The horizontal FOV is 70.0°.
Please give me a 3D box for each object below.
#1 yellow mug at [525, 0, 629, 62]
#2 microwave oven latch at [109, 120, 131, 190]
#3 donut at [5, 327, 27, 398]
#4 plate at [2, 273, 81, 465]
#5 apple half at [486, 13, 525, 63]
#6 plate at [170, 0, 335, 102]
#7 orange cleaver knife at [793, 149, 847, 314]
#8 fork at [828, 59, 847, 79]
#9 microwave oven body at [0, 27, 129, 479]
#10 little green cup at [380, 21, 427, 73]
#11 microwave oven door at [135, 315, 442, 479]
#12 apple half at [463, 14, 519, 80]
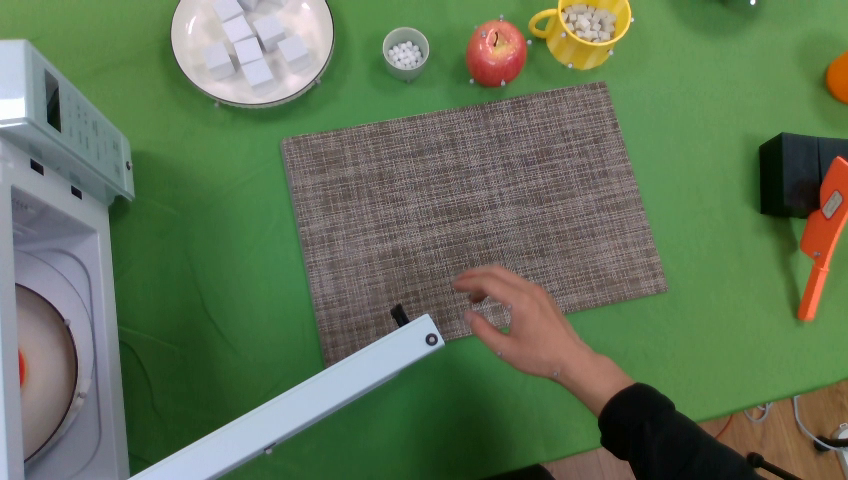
[{"bbox_3d":[0.203,-0.302,0.822,0.131,0.064,0.099,-1,78,-4],"label":"yellow mug"},{"bbox_3d":[-0.372,-0.102,0.728,0.030,0.029,0.079,-7,80,-7],"label":"microwave oven latch"},{"bbox_3d":[-0.460,0.131,0.617,0.099,0.048,0.098,1,80,-6],"label":"donut"},{"bbox_3d":[-0.462,0.137,0.628,0.209,0.038,0.208,1,79,-5],"label":"plate"},{"bbox_3d":[0.111,-0.270,0.804,0.033,0.081,0.081,-39,84,-7],"label":"apple half"},{"bbox_3d":[-0.220,-0.275,0.795,0.208,0.039,0.206,1,79,-4],"label":"plate"},{"bbox_3d":[0.508,-0.010,0.778,0.012,0.076,0.212,7,110,-1],"label":"orange cleaver knife"},{"bbox_3d":[0.662,-0.257,0.810,0.206,0.019,0.028,-13,73,37],"label":"fork"},{"bbox_3d":[-0.479,0.071,0.586,0.326,0.261,0.440,-9,80,-7],"label":"microwave oven body"},{"bbox_3d":[-0.027,-0.255,0.808,0.061,0.039,0.061,1,78,-4],"label":"little green cup"},{"bbox_3d":[-0.152,0.175,0.589,0.356,0.244,0.039,-28,81,-10],"label":"microwave oven door"},{"bbox_3d":[0.081,-0.245,0.798,0.053,0.075,0.080,-39,88,-6],"label":"apple half"}]
